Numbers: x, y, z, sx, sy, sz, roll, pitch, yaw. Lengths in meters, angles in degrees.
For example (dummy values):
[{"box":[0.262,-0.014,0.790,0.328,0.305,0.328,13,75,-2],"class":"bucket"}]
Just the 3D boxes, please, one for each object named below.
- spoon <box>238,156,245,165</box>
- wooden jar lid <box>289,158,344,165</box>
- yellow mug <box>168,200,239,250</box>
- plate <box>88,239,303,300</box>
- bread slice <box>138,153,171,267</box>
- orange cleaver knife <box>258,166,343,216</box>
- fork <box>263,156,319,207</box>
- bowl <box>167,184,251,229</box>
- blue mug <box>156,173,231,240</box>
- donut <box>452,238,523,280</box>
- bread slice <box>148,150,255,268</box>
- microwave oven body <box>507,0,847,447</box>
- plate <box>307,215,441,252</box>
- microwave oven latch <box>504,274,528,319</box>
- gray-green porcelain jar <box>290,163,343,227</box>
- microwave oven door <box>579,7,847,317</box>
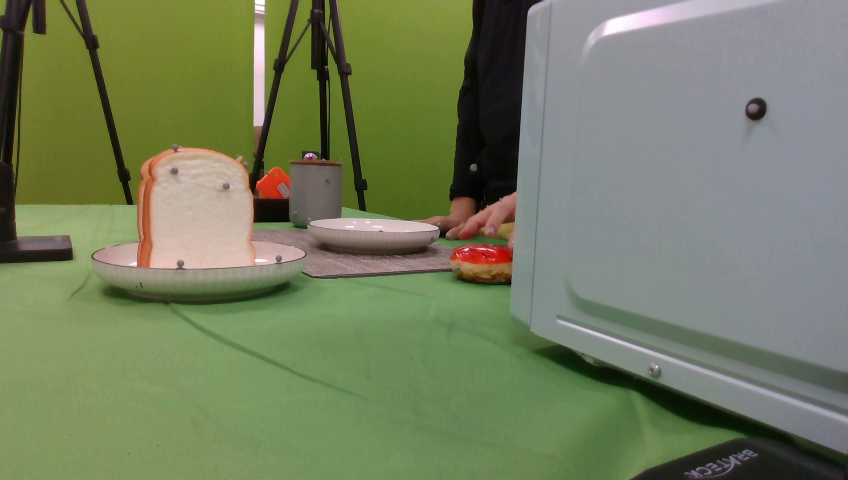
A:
[{"box":[-0.477,-0.145,1.492,0.041,0.022,0.193,-1,51,13],"class":"spoon"},{"box":[-0.215,-0.153,1.212,0.108,0.020,0.108,2,5,0],"class":"wooden jar lid"},{"box":[-0.319,-0.023,0.904,0.130,0.064,0.100,9,11,36],"class":"yellow mug"},{"box":[-0.233,0.029,0.636,0.208,0.039,0.207,2,7,0],"class":"plate"},{"box":[-0.256,-0.029,0.660,0.105,0.131,0.019,-1,0,-36],"class":"bread slice"},{"box":[-0.276,-0.090,1.369,0.212,0.077,0.012,33,-11,-34],"class":"orange cleaver knife"},{"box":[-0.331,-0.144,1.505,0.207,0.018,0.028,-42,-21,22],"class":"fork"},{"box":[-0.408,-0.064,1.154,0.151,0.077,0.151,2,8,0],"class":"bowl"},{"box":[-0.381,-0.057,1.004,0.117,0.106,0.082,0,8,-12],"class":"blue mug"},{"box":[0.083,0.022,0.745,0.099,0.048,0.099,1,6,0],"class":"donut"},{"box":[-0.230,-0.024,0.618,0.107,0.134,0.018,-8,10,-34],"class":"bread slice"},{"box":[0.331,-0.042,0.425,0.444,0.260,0.324,-2,8,-31],"class":"microwave oven body"},{"box":[-0.078,-0.011,0.954,0.209,0.038,0.209,2,8,0],"class":"plate"},{"box":[0.100,0.041,0.470,0.079,0.029,0.030,-1,7,-27],"class":"microwave oven latch"},{"box":[-0.217,-0.091,1.221,0.106,0.126,0.106,2,7,0],"class":"gray-green porcelain jar"},{"box":[0.294,-0.067,0.570,0.358,0.243,0.039,-3,9,-31],"class":"microwave oven door"}]
